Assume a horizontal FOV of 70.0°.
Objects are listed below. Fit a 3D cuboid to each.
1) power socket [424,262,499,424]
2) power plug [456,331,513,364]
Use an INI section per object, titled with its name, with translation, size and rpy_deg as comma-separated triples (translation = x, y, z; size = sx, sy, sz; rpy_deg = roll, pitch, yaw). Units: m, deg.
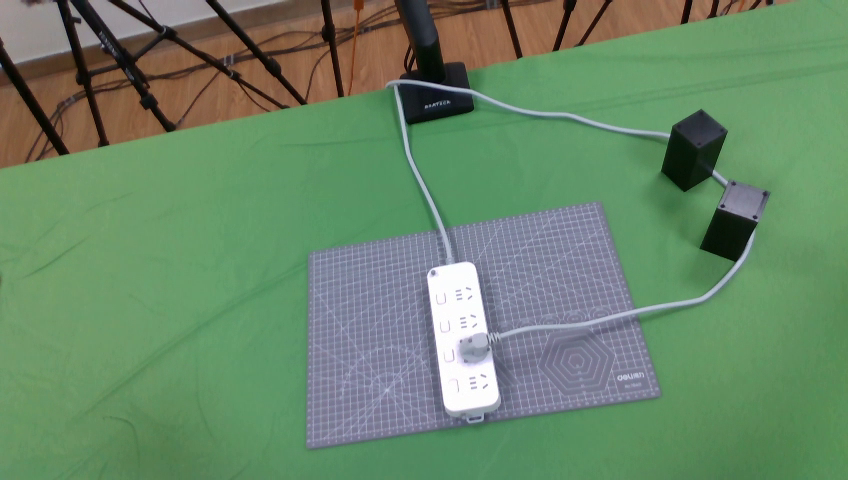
[power socket]
translation = 0.047, 0.127, 0.805
size = 0.072, 0.033, 0.224
rpy_deg = -10, 57, 3
[power plug]
translation = 0.076, 0.140, 0.770
size = 0.072, 0.053, 0.035
rpy_deg = -1, 60, 8
